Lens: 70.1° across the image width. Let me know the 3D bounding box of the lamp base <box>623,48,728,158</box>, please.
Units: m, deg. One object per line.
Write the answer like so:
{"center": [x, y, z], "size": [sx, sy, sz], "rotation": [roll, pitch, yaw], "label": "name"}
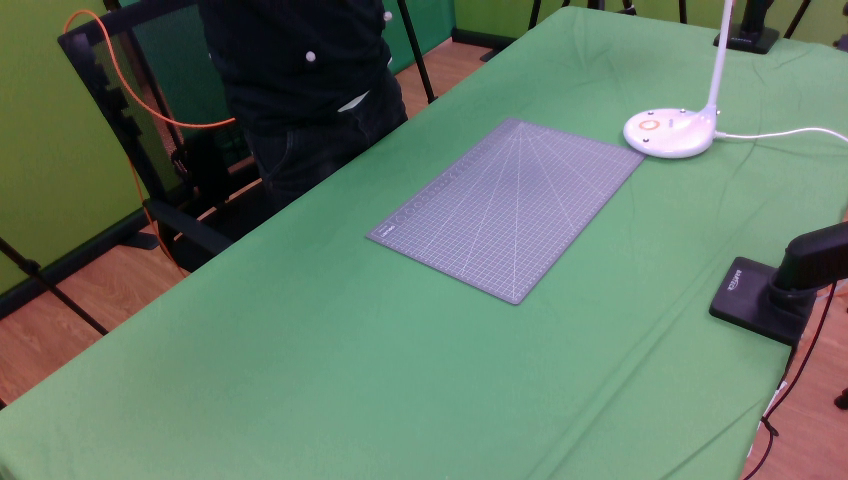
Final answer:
{"center": [0.462, -0.261, 1.084], "size": [0.179, 0.181, 0.160], "rotation": [3, 42, 7], "label": "lamp base"}
